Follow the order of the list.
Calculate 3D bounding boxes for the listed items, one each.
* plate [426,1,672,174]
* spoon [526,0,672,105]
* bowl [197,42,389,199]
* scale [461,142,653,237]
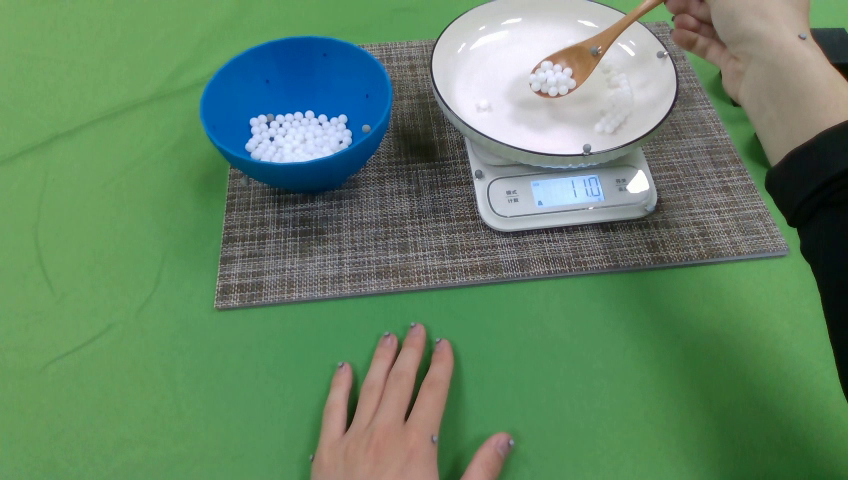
[{"bbox_3d":[0.105,-0.132,0.525,0.209,0.038,0.207,0,55,0],"label":"plate"},{"bbox_3d":[0.164,-0.170,0.474,0.194,0.022,0.041,-35,63,25],"label":"spoon"},{"bbox_3d":[-0.101,-0.087,0.508,0.151,0.077,0.150,0,54,1],"label":"bowl"},{"bbox_3d":[0.107,-0.094,0.539,0.149,0.032,0.199,-6,55,-3],"label":"scale"}]
